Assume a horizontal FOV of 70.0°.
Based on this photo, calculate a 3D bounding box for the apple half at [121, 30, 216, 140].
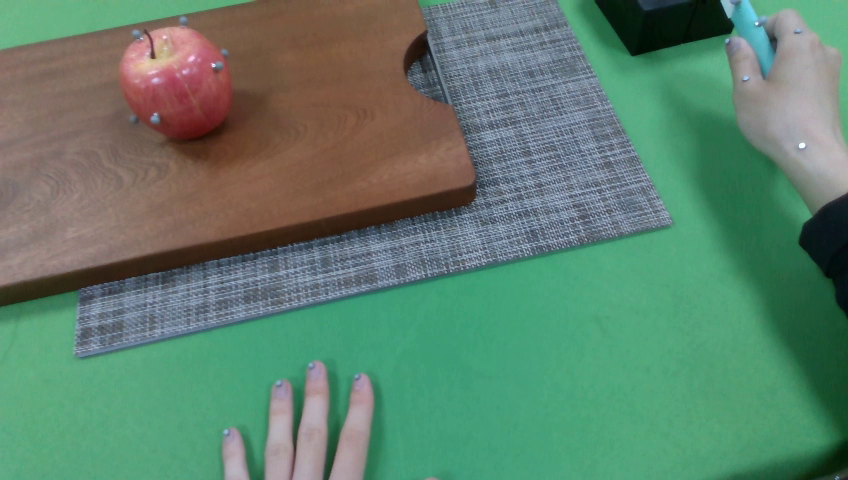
[{"bbox_3d":[-0.205,-0.116,0.478,0.053,0.075,0.080,-23,63,-5],"label":"apple half"}]

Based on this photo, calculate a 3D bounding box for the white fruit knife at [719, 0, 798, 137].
[{"bbox_3d":[0.246,-0.181,0.476,0.016,0.027,0.206,-18,83,-11],"label":"white fruit knife"}]

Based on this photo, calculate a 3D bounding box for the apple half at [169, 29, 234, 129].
[{"bbox_3d":[-0.169,-0.131,0.483,0.033,0.082,0.080,-23,60,-6],"label":"apple half"}]
